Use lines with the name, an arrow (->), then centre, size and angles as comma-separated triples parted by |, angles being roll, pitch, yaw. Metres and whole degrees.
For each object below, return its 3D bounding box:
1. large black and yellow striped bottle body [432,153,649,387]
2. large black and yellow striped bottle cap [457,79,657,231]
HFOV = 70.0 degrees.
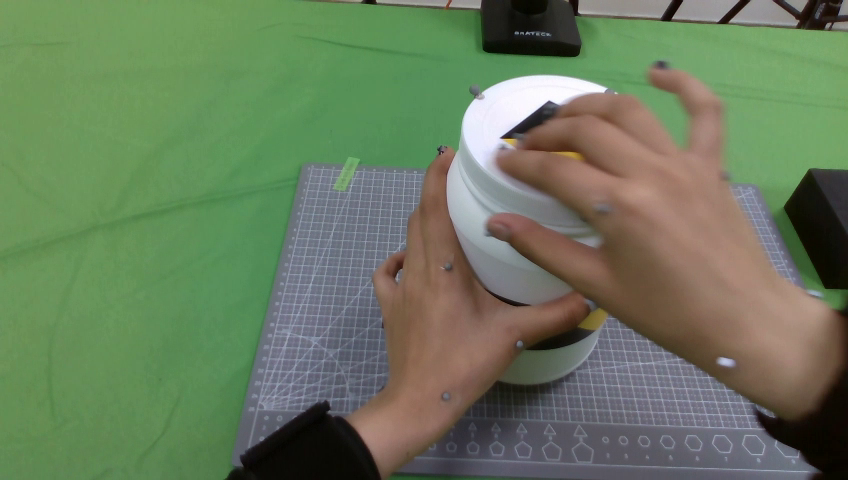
large black and yellow striped bottle body -> 0.074, 0.003, 0.417 | 0.131, 0.185, 0.129 | 2, 49, -1
large black and yellow striped bottle cap -> 0.077, -0.054, 0.353 | 0.115, 0.019, 0.114 | 1, 51, -1
